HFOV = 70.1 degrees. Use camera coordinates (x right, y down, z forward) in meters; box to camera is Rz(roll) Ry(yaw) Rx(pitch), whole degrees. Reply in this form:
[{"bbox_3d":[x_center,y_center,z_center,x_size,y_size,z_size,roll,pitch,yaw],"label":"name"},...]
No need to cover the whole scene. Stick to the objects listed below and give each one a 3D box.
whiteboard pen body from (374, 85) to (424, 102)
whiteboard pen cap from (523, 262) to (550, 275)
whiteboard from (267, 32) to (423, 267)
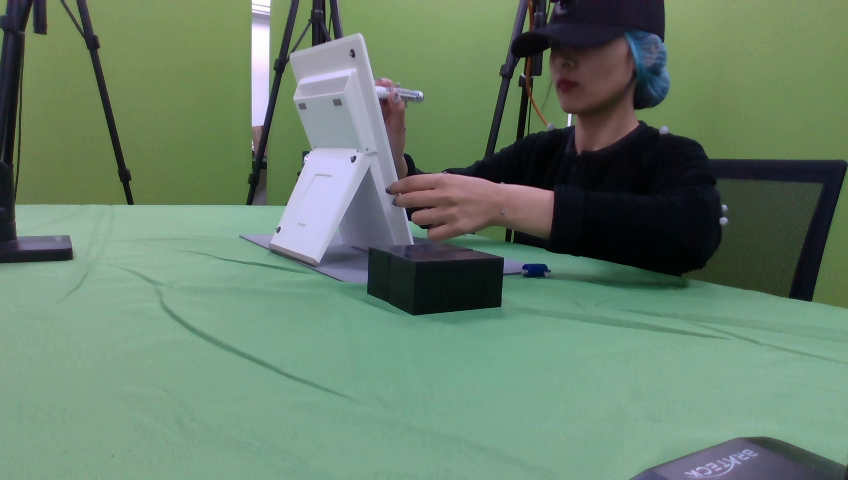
[{"bbox_3d":[-0.039,-0.199,0.819,0.017,0.017,0.141,6,12,28],"label":"whiteboard pen body"},{"bbox_3d":[0.145,0.037,0.776,0.033,0.018,0.018,1,6,-29],"label":"whiteboard pen cap"},{"bbox_3d":[-0.153,-0.098,0.818,0.144,0.305,0.216,-25,21,-28],"label":"whiteboard"}]
